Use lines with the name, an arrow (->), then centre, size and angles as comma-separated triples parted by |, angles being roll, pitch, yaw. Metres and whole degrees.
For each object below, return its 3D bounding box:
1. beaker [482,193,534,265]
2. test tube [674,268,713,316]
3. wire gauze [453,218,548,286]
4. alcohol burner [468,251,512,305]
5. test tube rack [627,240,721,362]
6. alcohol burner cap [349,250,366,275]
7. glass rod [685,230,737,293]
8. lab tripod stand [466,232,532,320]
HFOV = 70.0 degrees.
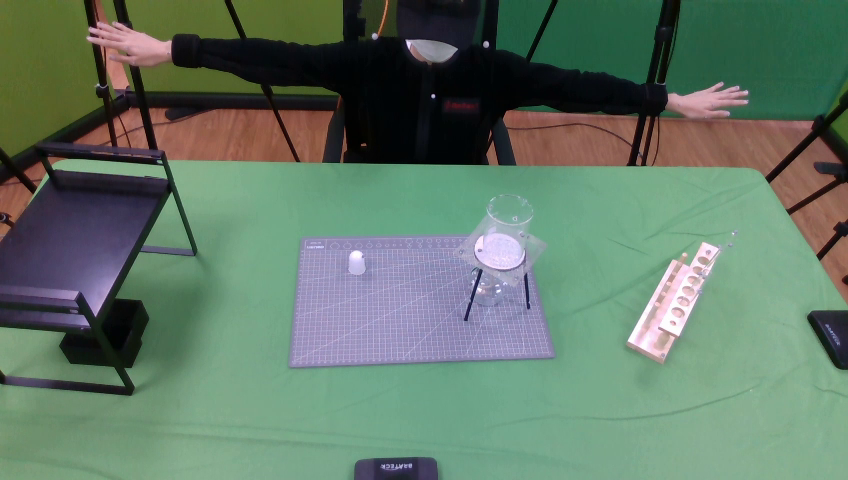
beaker -> 0.135, -0.016, 0.979 | 0.073, 0.101, 0.084 | 35, 52, 28
test tube -> 0.445, 0.098, 1.017 | 0.017, 0.151, 0.017 | 4, 49, -4
wire gauze -> 0.129, 0.014, 1.018 | 0.124, 0.011, 0.121 | 26, 47, 25
alcohol burner -> 0.119, 0.061, 1.077 | 0.078, 0.120, 0.077 | 1, 47, -1
test tube rack -> 0.452, 0.098, 1.087 | 0.066, 0.085, 0.242 | 28, 51, 22
alcohol burner cap -> -0.125, 0.039, 1.132 | 0.034, 0.048, 0.033 | 2, 46, -2
glass rod -> 0.495, 0.042, 1.051 | 0.008, 0.200, 0.008 | 2, 55, -2
lab tripod stand -> 0.125, 0.059, 1.065 | 0.148, 0.132, 0.147 | 1, 45, 0
